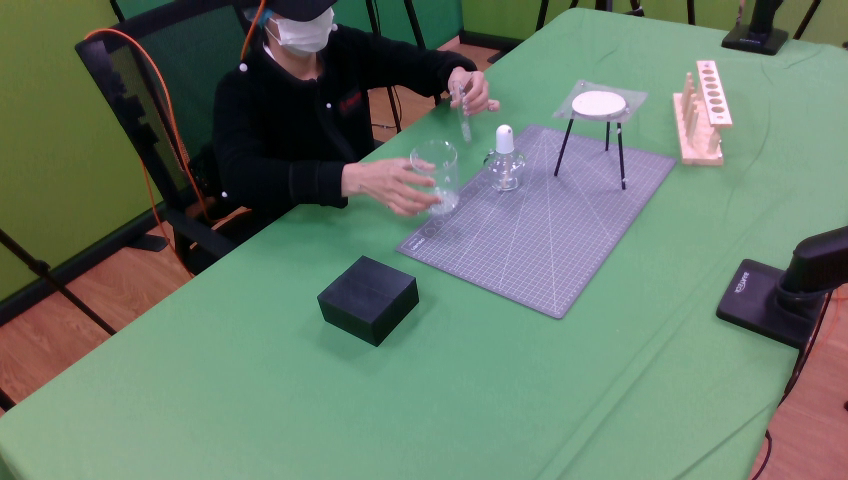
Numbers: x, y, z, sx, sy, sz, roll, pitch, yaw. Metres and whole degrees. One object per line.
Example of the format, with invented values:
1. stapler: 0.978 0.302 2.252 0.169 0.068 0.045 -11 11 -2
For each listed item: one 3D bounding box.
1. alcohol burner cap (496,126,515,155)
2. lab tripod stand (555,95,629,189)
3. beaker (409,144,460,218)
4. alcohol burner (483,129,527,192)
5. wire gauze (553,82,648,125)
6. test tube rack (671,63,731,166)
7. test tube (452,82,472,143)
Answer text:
1. alcohol burner cap: 0.138 -0.172 1.028 0.034 0.048 0.033 -5 38 4
2. lab tripod stand: 0.300 -0.174 1.045 0.148 0.132 0.147 -5 38 5
3. beaker: 0.022 -0.092 0.960 0.073 0.101 0.084 30 58 30
4. alcohol burner: 0.141 -0.144 1.050 0.078 0.119 0.077 -4 42 4
5. wire gauze: 0.293 -0.226 1.002 0.120 0.011 0.125 17 45 27
6. test tube rack: 0.513 -0.241 1.132 0.066 0.085 0.242 4 41 14
7. test tube: 0.070 -0.226 1.089 0.017 0.151 0.017 -6 58 10
